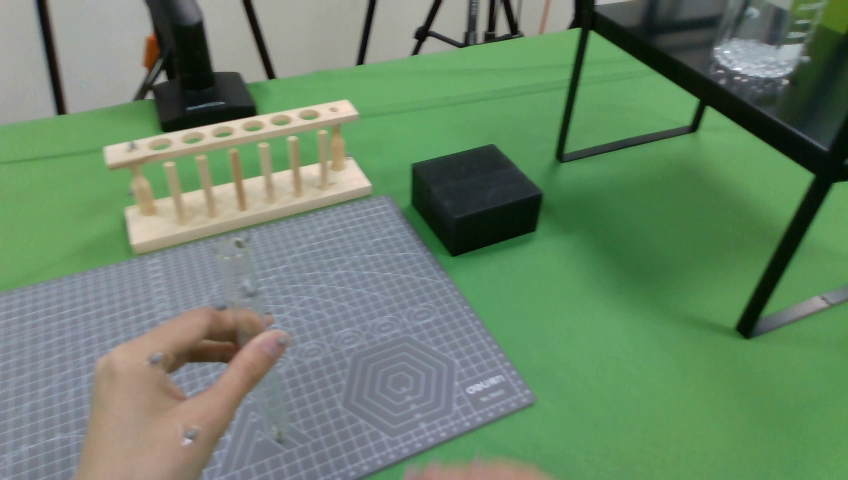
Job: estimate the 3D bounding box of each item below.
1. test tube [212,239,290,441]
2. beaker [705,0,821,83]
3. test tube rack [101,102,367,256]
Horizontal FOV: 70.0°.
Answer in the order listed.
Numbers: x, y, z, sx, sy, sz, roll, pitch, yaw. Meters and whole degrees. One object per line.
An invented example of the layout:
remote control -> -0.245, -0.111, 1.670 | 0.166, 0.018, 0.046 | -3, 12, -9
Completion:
test tube -> -0.091, 0.062, 0.330 | 0.017, 0.151, 0.017 | 0, 38, 1
beaker -> 0.277, -0.186, 0.493 | 0.084, 0.101, 0.073 | -17, 44, -20
test tube rack -> -0.184, -0.067, 0.621 | 0.243, 0.086, 0.066 | -16, 44, -21
